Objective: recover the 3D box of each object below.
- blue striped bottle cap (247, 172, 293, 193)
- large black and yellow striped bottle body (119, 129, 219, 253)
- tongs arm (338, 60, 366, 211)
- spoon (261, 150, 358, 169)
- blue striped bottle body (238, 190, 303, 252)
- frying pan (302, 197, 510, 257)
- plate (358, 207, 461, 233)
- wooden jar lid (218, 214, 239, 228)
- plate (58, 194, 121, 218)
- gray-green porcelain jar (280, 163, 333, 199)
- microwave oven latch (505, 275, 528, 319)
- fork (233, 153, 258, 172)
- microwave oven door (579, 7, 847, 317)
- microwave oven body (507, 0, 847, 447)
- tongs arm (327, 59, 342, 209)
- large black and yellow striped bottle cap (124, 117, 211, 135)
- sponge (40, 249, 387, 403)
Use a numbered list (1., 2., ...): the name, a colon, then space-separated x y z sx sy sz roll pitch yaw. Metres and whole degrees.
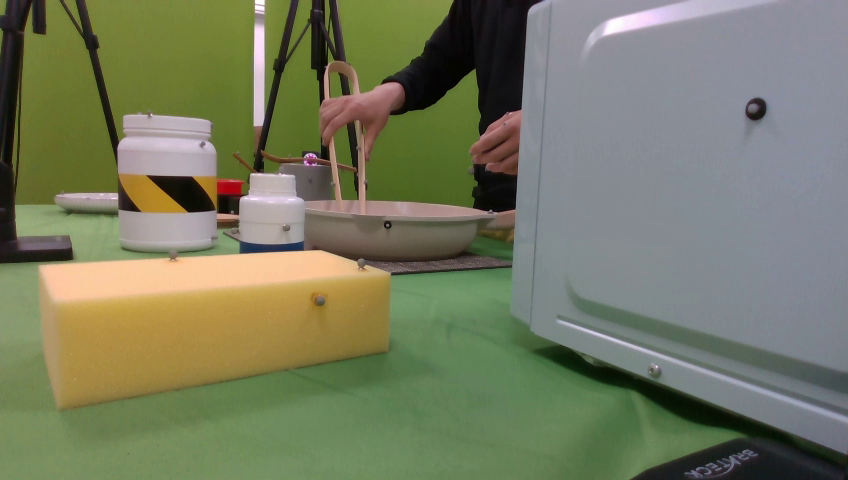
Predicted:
1. blue striped bottle cap: -0.152 -0.057 0.598 0.044 0.020 0.044 3 7 0
2. large black and yellow striped bottle body: -0.367 -0.080 0.876 0.131 0.184 0.130 1 7 0
3. tongs arm: -0.134 -0.194 1.101 0.051 0.383 0.026 8 -38 -17
4. spoon: -0.229 -0.161 1.222 0.194 0.021 0.041 3 1 -16
5. blue striped bottle body: -0.153 -0.007 0.606 0.063 0.120 0.063 2 8 0
6. frying pan: 0.051 -0.035 0.915 0.487 0.102 0.307 -5 7 11
7. plate: -0.030 -0.041 1.213 0.208 0.039 0.207 3 7 0
8. wooden jar lid: -0.404 -0.037 1.169 0.108 0.020 0.108 3 7 0
9. plate: -0.671 -0.074 1.310 0.209 0.038 0.209 2 8 0
10. gray-green porcelain jar: -0.238 -0.092 1.221 0.106 0.126 0.106 2 7 0
11. microwave oven latch: 0.100 0.041 0.471 0.079 0.029 0.030 -1 7 -28
12. fork: -0.396 -0.143 1.486 0.028 0.018 0.208 21 -26 45
13. microwave oven door: 0.294 -0.067 0.570 0.358 0.243 0.039 -3 9 -31
14. microwave oven body: 0.331 -0.042 0.425 0.444 0.260 0.324 -2 8 -31
15. tongs arm: -0.158 -0.196 1.093 0.028 0.386 0.028 3 -37 -16
16. large black and yellow striped bottle cap: -0.366 -0.163 0.866 0.115 0.019 0.115 3 7 0
17. sponge: -0.142 0.047 0.420 0.208 0.061 0.117 -3 8 -36
